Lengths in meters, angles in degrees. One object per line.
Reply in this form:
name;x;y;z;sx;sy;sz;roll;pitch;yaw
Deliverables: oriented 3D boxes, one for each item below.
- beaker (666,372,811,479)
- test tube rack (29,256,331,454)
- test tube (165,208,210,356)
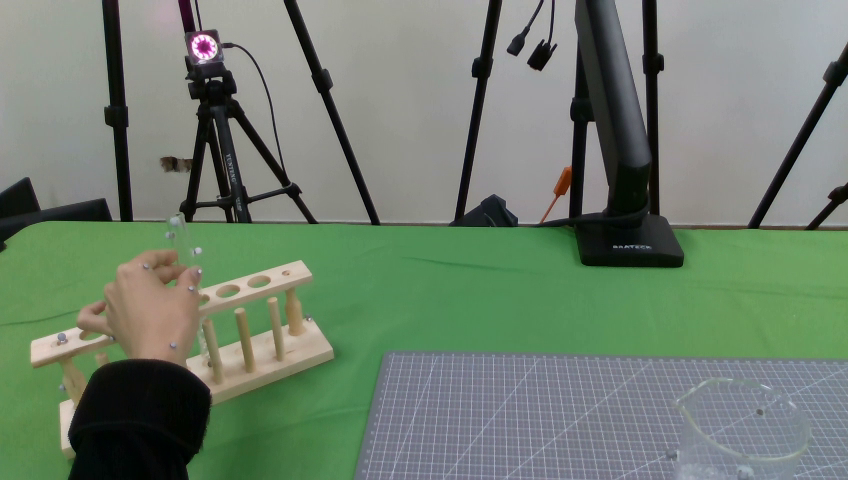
beaker;0.206;0.152;0.416;0.083;0.101;0.074;12;33;26
test tube rack;-0.216;0.099;0.566;0.243;0.086;0.066;-17;33;-24
test tube;-0.215;0.042;0.562;0.017;0.151;0.017;-4;23;2
